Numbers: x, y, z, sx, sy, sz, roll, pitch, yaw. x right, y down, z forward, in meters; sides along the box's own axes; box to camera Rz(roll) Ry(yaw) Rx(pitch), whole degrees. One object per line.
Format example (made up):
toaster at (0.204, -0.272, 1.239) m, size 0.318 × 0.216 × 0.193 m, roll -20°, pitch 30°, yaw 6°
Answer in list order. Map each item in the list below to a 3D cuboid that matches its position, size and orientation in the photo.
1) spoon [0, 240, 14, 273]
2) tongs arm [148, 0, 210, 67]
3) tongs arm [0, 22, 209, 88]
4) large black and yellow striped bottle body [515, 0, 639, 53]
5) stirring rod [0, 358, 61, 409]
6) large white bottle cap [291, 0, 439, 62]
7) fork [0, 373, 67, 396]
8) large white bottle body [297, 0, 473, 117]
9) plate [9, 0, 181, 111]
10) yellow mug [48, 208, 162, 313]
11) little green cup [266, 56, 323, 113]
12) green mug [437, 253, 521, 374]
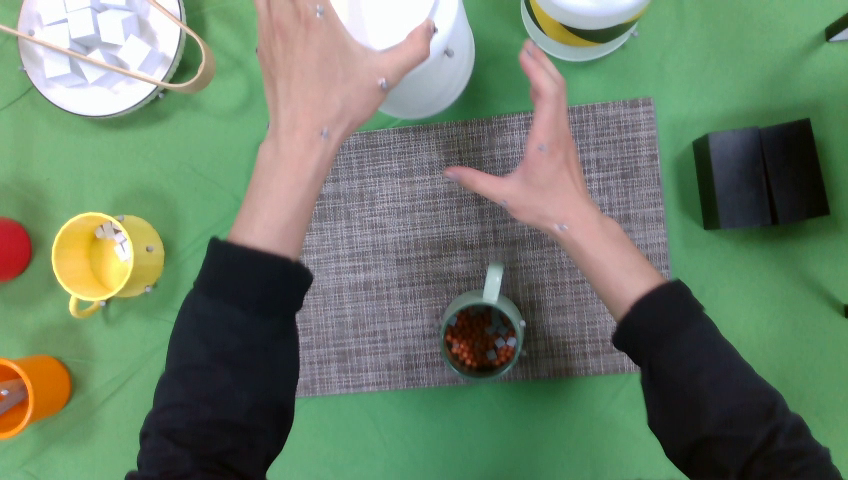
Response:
spoon at (-0.531, -0.034, 0.679) m, size 0.041 × 0.021 × 0.196 m, roll -10°, pitch 134°, yaw 5°
tongs arm at (-0.387, -0.318, 0.685) m, size 0.386 × 0.028 × 0.028 m, roll 37°, pitch 88°, yaw 6°
tongs arm at (-0.426, -0.245, 0.688) m, size 0.384 × 0.026 × 0.050 m, roll 23°, pitch 90°, yaw 7°
large black and yellow striped bottle body at (0.156, -0.271, 0.588) m, size 0.130 × 0.184 × 0.130 m, roll 0°, pitch 90°, yaw 7°
stirring rod at (-0.495, 0.195, 0.682) m, size 0.014 × 0.006 × 0.176 m, roll 44°, pitch 52°, yaw 3°
large white bottle cap at (-0.044, -0.191, 0.450) m, size 0.114 × 0.018 × 0.115 m, roll 0°, pitch 92°, yaw 11°
fork at (-0.520, 0.161, 0.678) m, size 0.209 × 0.018 × 0.028 m, roll 12°, pitch 87°, yaw -37°
large white bottle body at (-0.030, -0.190, 0.533) m, size 0.130 × 0.185 × 0.130 m, roll 0°, pitch 90°, yaw 11°
plate at (-0.382, -0.254, 0.716) m, size 0.207 × 0.039 × 0.207 m, roll 0°, pitch 91°, yaw 6°
yellow mug at (-0.375, 0.027, 0.704) m, size 0.100 × 0.064 × 0.131 m, roll 27°, pitch 94°, yaw 5°
little green cup at (-0.145, -0.174, 0.693) m, size 0.061 × 0.038 × 0.061 m, roll 0°, pitch 92°, yaw 5°
green mug at (0.061, 0.075, 0.638) m, size 0.092 × 0.105 × 0.125 m, roll 11°, pitch 91°, yaw 6°
